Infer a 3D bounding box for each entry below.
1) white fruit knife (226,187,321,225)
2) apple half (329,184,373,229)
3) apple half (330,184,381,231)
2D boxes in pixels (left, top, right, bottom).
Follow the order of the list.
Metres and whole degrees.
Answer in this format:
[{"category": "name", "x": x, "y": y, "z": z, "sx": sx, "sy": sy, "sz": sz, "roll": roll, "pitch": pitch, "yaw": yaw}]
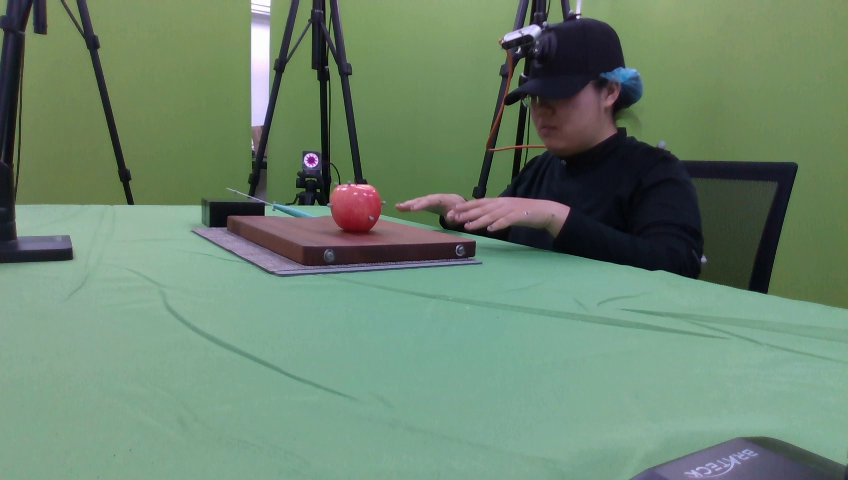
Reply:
[{"category": "white fruit knife", "x": -0.298, "y": -0.068, "z": 1.213, "sx": 0.208, "sy": 0.016, "sz": 0.027, "roll": 20, "pitch": -3, "yaw": -31}, {"category": "apple half", "x": -0.123, "y": -0.056, "z": 0.970, "sx": 0.082, "sy": 0.081, "sz": 0.032, "roll": -3, "pitch": 13, "yaw": -36}, {"category": "apple half", "x": -0.100, "y": -0.049, "z": 0.939, "sx": 0.081, "sy": 0.074, "sz": 0.053, "roll": 1, "pitch": 11, "yaw": -36}]
